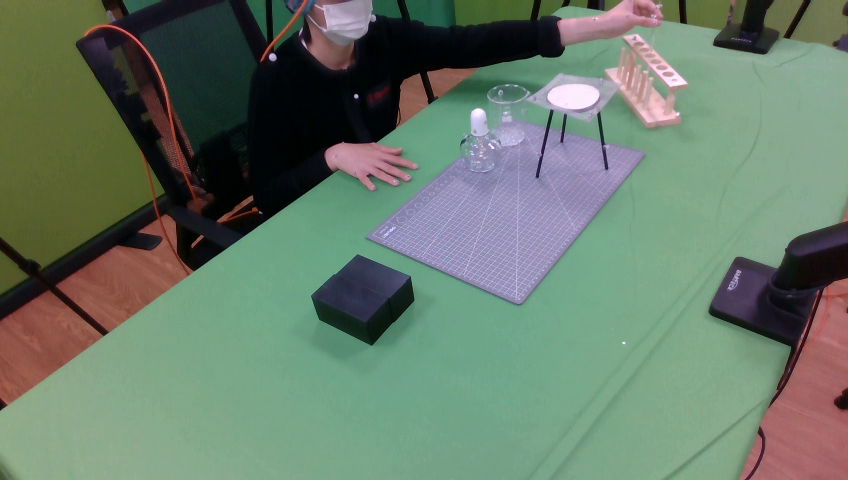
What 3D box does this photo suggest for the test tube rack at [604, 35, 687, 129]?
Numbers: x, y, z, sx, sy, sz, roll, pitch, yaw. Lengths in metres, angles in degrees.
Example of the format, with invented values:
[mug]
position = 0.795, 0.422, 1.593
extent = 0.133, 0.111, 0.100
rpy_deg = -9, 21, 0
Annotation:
[test tube rack]
position = 0.447, -0.330, 1.241
extent = 0.067, 0.085, 0.241
rpy_deg = -9, 41, -2

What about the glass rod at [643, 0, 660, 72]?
[glass rod]
position = 0.455, -0.395, 1.213
extent = 0.008, 0.200, 0.008
rpy_deg = -2, 38, 2

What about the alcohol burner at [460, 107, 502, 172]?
[alcohol burner]
position = 0.102, -0.185, 1.098
extent = 0.078, 0.119, 0.077
rpy_deg = -6, 40, 5

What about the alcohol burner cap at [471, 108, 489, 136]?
[alcohol burner cap]
position = 0.098, -0.211, 1.074
extent = 0.034, 0.048, 0.033
rpy_deg = -6, 42, 6

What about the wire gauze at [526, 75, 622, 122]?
[wire gauze]
position = 0.255, -0.248, 1.030
extent = 0.124, 0.011, 0.122
rpy_deg = 24, 51, 32

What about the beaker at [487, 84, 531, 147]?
[beaker]
position = 0.164, -0.237, 1.161
extent = 0.084, 0.101, 0.073
rpy_deg = -10, 41, -3

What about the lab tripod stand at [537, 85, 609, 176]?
[lab tripod stand]
position = 0.259, -0.192, 1.068
extent = 0.148, 0.132, 0.147
rpy_deg = -4, 43, 4
